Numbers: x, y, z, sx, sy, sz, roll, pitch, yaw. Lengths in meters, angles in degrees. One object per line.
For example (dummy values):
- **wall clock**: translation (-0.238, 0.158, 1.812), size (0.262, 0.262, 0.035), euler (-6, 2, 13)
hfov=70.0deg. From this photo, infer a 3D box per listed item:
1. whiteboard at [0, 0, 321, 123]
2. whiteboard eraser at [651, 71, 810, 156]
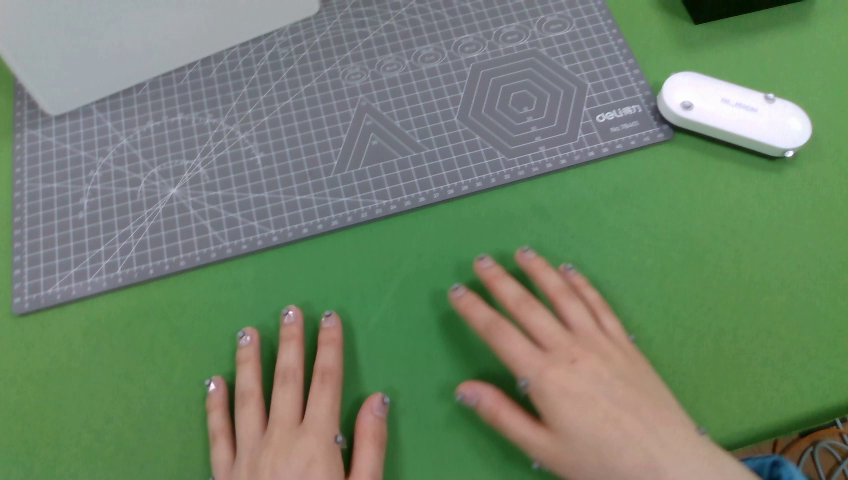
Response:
- **whiteboard**: translation (-0.230, -0.274, 0.388), size (0.217, 0.309, 0.142), euler (-24, 48, -8)
- **whiteboard eraser**: translation (0.209, -0.087, 0.414), size (0.101, 0.019, 0.041), euler (20, 68, 10)
